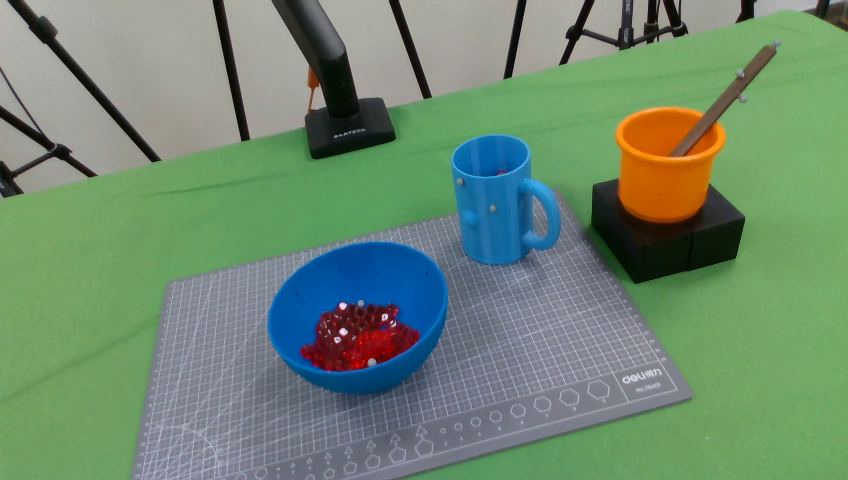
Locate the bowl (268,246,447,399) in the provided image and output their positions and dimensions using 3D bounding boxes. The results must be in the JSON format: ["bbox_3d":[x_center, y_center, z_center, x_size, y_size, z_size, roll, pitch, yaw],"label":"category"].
[{"bbox_3d":[-0.049,0.083,0.520,0.151,0.077,0.150,-6,39,5],"label":"bowl"}]

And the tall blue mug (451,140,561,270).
[{"bbox_3d":[0.085,-0.033,0.603,0.107,0.109,0.077,4,41,17],"label":"tall blue mug"}]

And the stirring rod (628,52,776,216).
[{"bbox_3d":[0.246,-0.092,0.541,0.176,0.006,0.014,-53,37,17],"label":"stirring rod"}]
